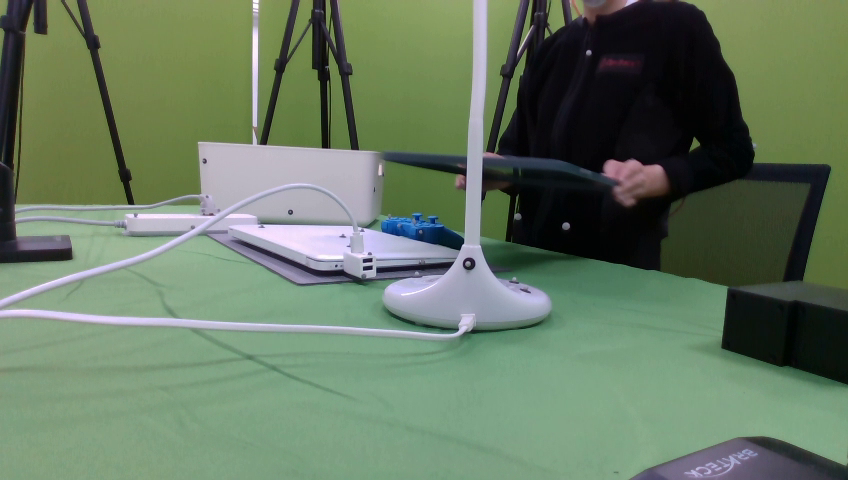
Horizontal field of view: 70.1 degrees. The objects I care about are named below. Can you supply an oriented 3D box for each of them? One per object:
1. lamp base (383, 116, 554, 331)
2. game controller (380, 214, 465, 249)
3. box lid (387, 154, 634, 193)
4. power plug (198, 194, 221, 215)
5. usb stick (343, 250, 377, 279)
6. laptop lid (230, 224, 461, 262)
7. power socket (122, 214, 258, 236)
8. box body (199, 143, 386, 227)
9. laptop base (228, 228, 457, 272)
[{"bbox_3d":[0.045,-0.019,0.547,0.161,0.180,0.179,2,10,-4],"label":"lamp base"},{"bbox_3d":[-0.006,-0.017,1.039,0.097,0.051,0.154,-4,9,-34],"label":"game controller"},{"bbox_3d":[0.142,-0.093,0.887,0.262,0.015,0.373,7,4,29],"label":"box lid"},{"bbox_3d":[-0.387,-0.055,1.089,0.035,0.052,0.072,-1,7,-22],"label":"power plug"},{"bbox_3d":[-0.076,0.026,0.687,0.021,0.027,0.059,-8,9,-31],"label":"usb stick"},{"bbox_3d":[-0.120,0.000,0.888,0.243,0.013,0.355,1,7,-33],"label":"laptop lid"},{"bbox_3d":[-0.398,-0.028,1.049,0.228,0.032,0.072,-3,8,-34],"label":"power socket"},{"bbox_3d":[-0.277,-0.124,1.334,0.364,0.160,0.254,3,7,1],"label":"box body"},{"bbox_3d":[-0.122,0.011,0.889,0.237,0.023,0.352,2,6,-35],"label":"laptop base"}]
